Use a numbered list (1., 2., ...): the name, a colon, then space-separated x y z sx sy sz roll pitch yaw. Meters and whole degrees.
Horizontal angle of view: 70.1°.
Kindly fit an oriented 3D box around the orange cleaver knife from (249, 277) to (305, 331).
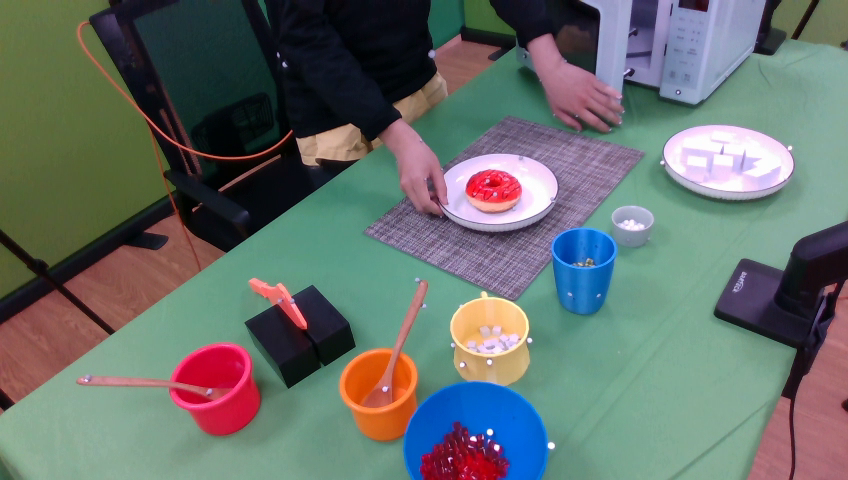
1. orange cleaver knife: -0.210 0.088 0.856 0.012 0.077 0.210 -28 15 -25

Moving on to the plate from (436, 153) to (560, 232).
1. plate: 0.125 -0.078 1.029 0.209 0.038 0.208 -4 40 4

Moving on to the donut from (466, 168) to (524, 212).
1. donut: 0.119 -0.084 1.020 0.099 0.048 0.098 -3 39 3

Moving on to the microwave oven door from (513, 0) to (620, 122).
1. microwave oven door: 0.285 -0.422 1.230 0.039 0.245 0.352 -20 42 -15

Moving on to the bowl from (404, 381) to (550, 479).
1. bowl: 0.058 0.235 0.645 0.151 0.077 0.150 -4 39 4

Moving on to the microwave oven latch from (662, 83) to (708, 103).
1. microwave oven latch: 0.518 -0.296 1.204 0.078 0.029 0.030 28 52 35

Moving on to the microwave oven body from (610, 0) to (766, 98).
1. microwave oven body: 0.472 -0.513 1.317 0.438 0.261 0.327 26 51 34

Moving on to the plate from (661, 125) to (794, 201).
1. plate: 0.513 -0.128 1.035 0.207 0.039 0.206 -4 40 4

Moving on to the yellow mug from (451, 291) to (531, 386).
1. yellow mug: 0.085 0.120 0.786 0.100 0.064 0.130 -7 39 1

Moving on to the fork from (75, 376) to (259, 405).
1. fork: -0.295 0.176 0.716 0.209 0.018 0.028 19 27 -36

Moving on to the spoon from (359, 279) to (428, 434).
1. spoon: -0.032 0.138 0.719 0.041 0.193 0.022 22 4 30

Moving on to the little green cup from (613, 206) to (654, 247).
1. little green cup: 0.322 -0.019 0.937 0.061 0.039 0.061 -4 41 4

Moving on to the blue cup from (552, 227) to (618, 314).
1. blue cup: 0.218 0.047 0.825 0.092 0.100 0.092 -6 40 5
